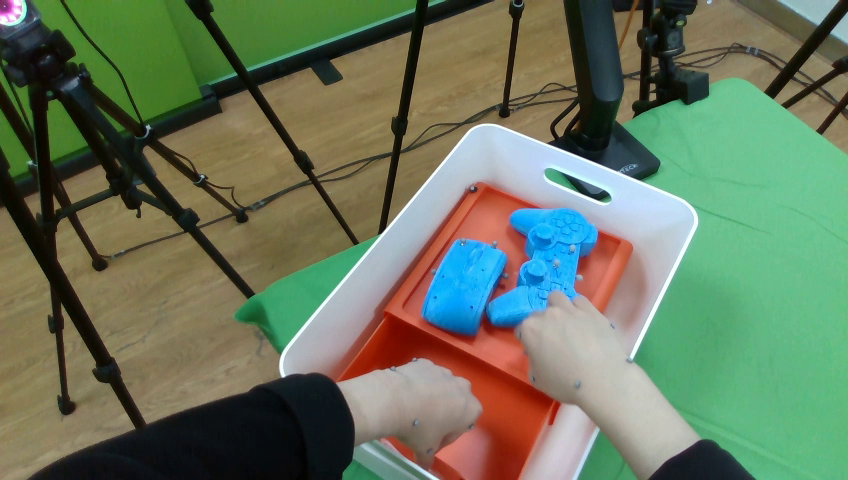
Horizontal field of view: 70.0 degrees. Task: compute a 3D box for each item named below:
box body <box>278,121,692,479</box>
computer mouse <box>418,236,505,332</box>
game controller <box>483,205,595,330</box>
[{"bbox_3d":[0.071,0.081,0.613,0.252,0.162,0.363,27,59,18],"label":"box body"},{"bbox_3d":[0.041,0.040,0.628,0.062,0.041,0.116,17,50,15],"label":"computer mouse"},{"bbox_3d":[0.124,0.023,0.634,0.097,0.052,0.154,15,56,7],"label":"game controller"}]
